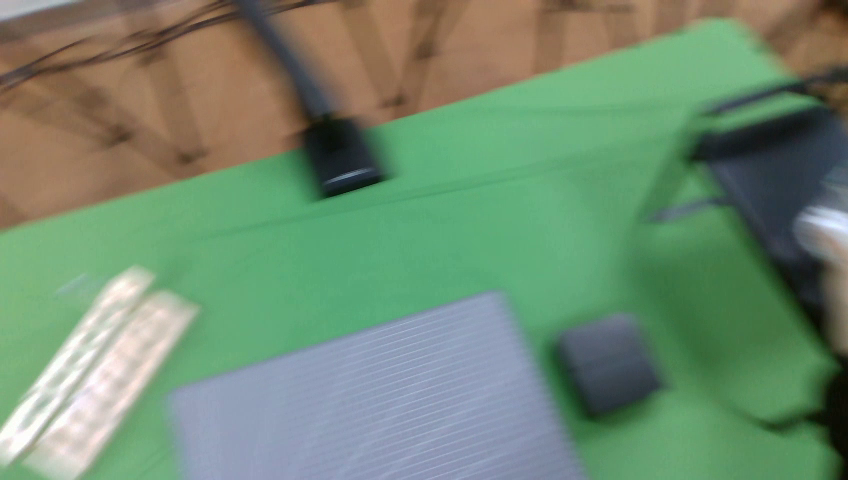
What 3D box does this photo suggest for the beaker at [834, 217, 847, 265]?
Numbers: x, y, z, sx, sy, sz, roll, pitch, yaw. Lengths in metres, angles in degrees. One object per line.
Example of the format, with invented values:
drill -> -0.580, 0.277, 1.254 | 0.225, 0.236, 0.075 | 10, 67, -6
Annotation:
beaker -> 0.461, -0.015, 0.593 | 0.084, 0.101, 0.073 | 14, 62, 9

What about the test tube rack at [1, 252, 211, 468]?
test tube rack -> -0.369, 0.142, 0.728 | 0.066, 0.086, 0.241 | 26, 67, 12

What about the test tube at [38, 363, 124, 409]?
test tube -> -0.375, 0.163, 0.668 | 0.017, 0.152, 0.017 | -1, 62, 3

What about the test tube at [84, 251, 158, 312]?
test tube -> -0.352, 0.052, 0.715 | 0.017, 0.151, 0.017 | -2, 62, 4
